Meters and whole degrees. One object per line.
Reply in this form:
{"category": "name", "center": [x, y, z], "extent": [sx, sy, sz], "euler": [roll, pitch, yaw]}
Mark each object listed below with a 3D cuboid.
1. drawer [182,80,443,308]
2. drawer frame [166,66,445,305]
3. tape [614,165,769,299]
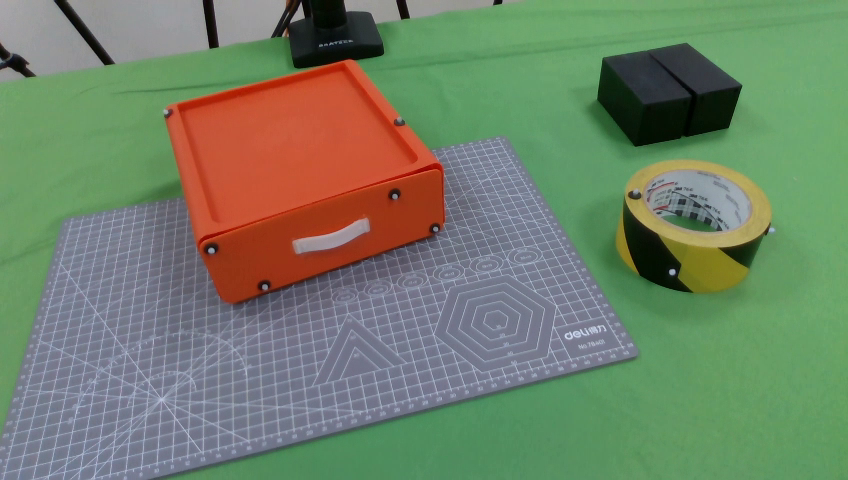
{"category": "drawer", "center": [-0.113, -0.057, 0.557], "extent": [0.195, 0.074, 0.209], "euler": [-20, 44, -15]}
{"category": "drawer frame", "center": [-0.115, -0.062, 0.559], "extent": [0.202, 0.083, 0.211], "euler": [-20, 44, -16]}
{"category": "tape", "center": [0.218, -0.010, 0.503], "extent": [0.117, 0.053, 0.115], "euler": [-2, 43, 2]}
